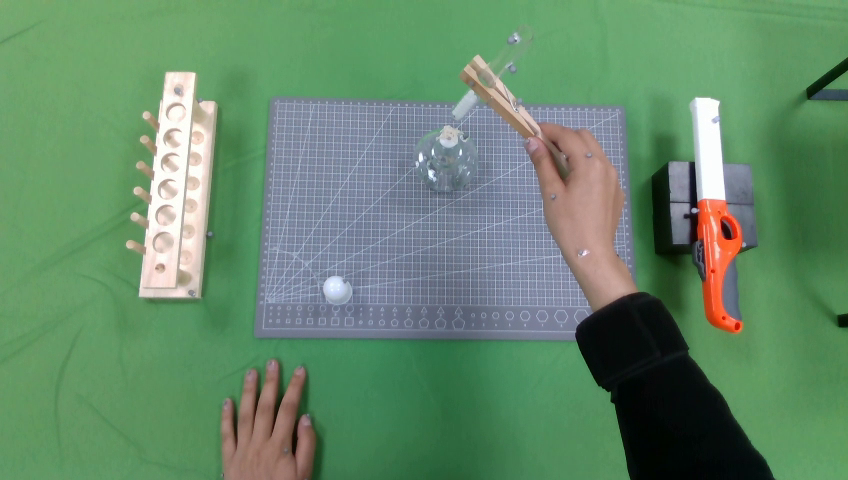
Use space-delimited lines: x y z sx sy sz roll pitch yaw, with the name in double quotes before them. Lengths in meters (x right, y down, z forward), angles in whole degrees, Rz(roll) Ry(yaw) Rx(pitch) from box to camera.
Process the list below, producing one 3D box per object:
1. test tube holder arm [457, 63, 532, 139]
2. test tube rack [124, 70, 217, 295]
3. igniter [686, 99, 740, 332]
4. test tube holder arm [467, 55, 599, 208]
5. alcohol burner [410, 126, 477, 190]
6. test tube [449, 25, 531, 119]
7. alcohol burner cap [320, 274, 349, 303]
"test tube holder arm" 0.066 -0.126 0.552 0.088 0.015 0.010 40 71 -9
"test tube rack" -0.291 -0.063 0.688 0.067 0.085 0.241 1 77 -2
"igniter" 0.328 -0.033 0.694 0.057 0.025 0.275 3 75 -4
"test tube holder arm" 0.101 -0.098 0.560 0.179 0.015 0.013 47 70 -7
"alcohol burner" 0.023 -0.101 0.695 0.078 0.119 0.077 0 78 -1
"test tube" 0.055 -0.145 0.545 0.017 0.150 0.017 5 74 -18
"alcohol burner cap" -0.104 0.053 0.691 0.034 0.048 0.033 1 78 -3
